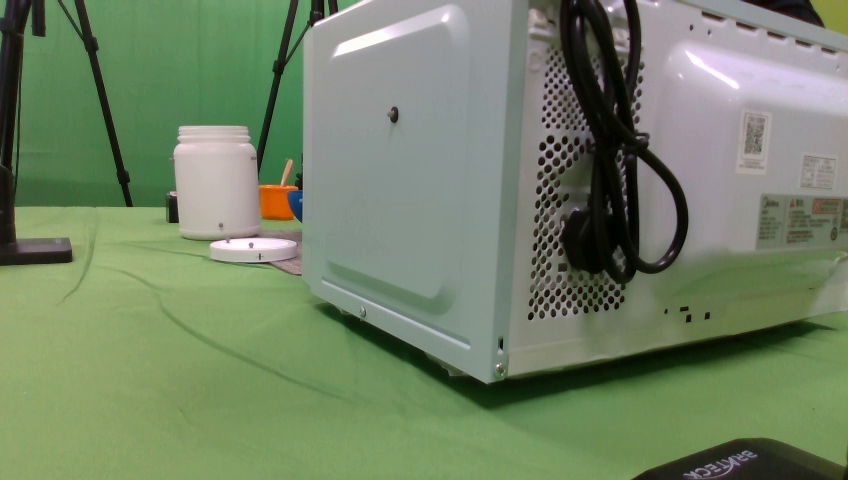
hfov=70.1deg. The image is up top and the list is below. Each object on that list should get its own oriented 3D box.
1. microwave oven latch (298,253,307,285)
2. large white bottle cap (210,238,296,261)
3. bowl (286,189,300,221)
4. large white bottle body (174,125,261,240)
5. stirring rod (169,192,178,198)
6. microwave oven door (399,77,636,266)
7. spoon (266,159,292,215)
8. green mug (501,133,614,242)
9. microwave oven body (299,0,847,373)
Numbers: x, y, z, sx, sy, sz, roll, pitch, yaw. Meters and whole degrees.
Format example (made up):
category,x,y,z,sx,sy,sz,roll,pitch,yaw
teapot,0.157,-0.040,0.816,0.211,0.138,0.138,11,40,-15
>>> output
category,x,y,z,sx,sy,sz,roll,pitch,yaw
microwave oven latch,-0.081,0.027,0.582,0.079,0.029,0.030,-1,7,-32
large white bottle cap,-0.236,0.012,0.839,0.115,0.018,0.115,2,7,0
bowl,-0.179,-0.051,1.115,0.151,0.077,0.151,3,8,0
large white bottle body,-0.349,-0.100,1.025,0.131,0.184,0.130,-1,9,0
stirring rod,-0.466,-0.097,1.282,0.014,0.006,0.177,42,21,17
microwave oven door,0.116,-0.103,0.875,0.354,0.243,0.039,7,8,35
spoon,-0.334,-0.127,1.423,0.041,0.193,0.022,0,-38,7
green mug,0.133,-0.053,0.630,0.124,0.105,0.093,1,6,42
microwave oven body,0.151,-0.055,0.543,0.444,0.260,0.324,-2,7,-33
